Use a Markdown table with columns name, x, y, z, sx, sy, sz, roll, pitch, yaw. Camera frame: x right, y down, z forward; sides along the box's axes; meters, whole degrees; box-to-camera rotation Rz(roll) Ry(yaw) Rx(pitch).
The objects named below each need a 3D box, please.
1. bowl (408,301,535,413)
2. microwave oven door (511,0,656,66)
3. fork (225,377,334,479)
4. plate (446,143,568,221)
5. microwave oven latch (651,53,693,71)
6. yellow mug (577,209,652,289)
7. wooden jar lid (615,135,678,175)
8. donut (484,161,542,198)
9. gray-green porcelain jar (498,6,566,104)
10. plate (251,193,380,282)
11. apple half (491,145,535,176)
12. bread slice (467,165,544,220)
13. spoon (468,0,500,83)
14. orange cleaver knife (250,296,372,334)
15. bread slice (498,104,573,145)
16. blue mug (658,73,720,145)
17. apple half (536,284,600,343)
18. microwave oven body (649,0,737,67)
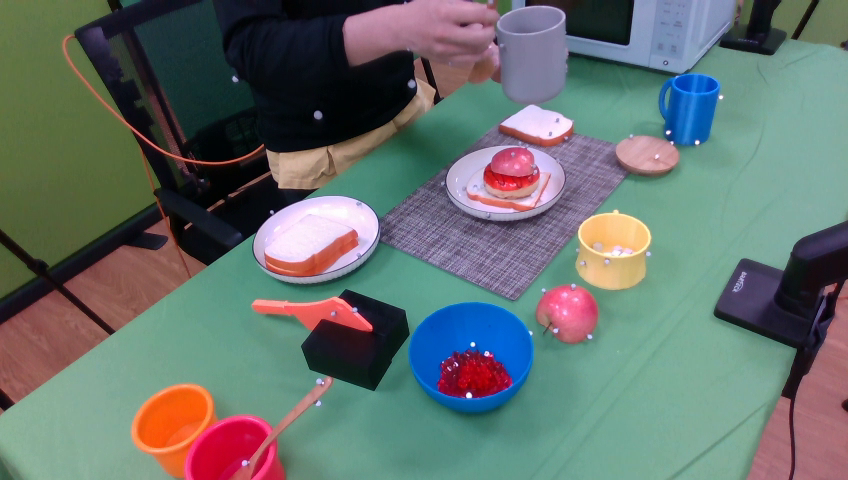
| name | x | y | z | sx | sy | sz | roll | pitch | yaw |
| --- | --- | --- | --- | --- | --- | --- | --- | --- | --- |
| bowl | 0.060 | 0.156 | 0.739 | 0.151 | 0.077 | 0.150 | -4 | 40 | 4 |
| microwave oven door | 0.351 | -0.539 | 1.349 | 0.353 | 0.245 | 0.039 | 24 | 50 | 31 |
| fork | -0.163 | 0.216 | 0.646 | 0.207 | 0.019 | 0.028 | -49 | 41 | 16 |
| plate | 0.142 | -0.097 | 1.045 | 0.207 | 0.039 | 0.206 | -4 | 40 | 4 |
| microwave oven latch | 0.532 | -0.386 | 1.301 | 0.078 | 0.029 | 0.030 | 27 | 52 | 34 |
| yellow mug | 0.279 | 0.004 | 0.893 | 0.099 | 0.064 | 0.130 | 5 | 42 | 14 |
| wooden jar lid | 0.398 | -0.151 | 1.086 | 0.108 | 0.021 | 0.108 | -1 | 42 | 2 |
| donut | 0.149 | -0.109 | 1.016 | 0.099 | 0.048 | 0.098 | -4 | 40 | 4 |
| gray-green porcelain jar | 0.174 | -0.292 | 0.966 | 0.106 | 0.127 | 0.105 | -6 | 42 | 6 |
| plate | -0.174 | -0.001 | 0.984 | 0.209 | 0.038 | 0.208 | -4 | 41 | 4 |
| apple half | 0.147 | -0.138 | 0.994 | 0.081 | 0.033 | 0.081 | 1 | 37 | 0 |
| bread slice | 0.142 | -0.086 | 1.050 | 0.134 | 0.018 | 0.107 | 15 | 47 | 13 |
| spoon | 0.084 | -0.271 | 0.806 | 0.042 | 0.194 | 0.021 | -17 | 66 | -10 |
| orange cleaver knife | -0.158 | 0.103 | 0.828 | 0.210 | 0.078 | 0.012 | -4 | 43 | 39 |
| bread slice | 0.231 | -0.231 | 1.205 | 0.105 | 0.019 | 0.130 | -36 | 47 | -29 |
| blue mug | 0.483 | -0.250 | 1.127 | 0.082 | 0.106 | 0.115 | -26 | 44 | -19 |
| apple half | 0.196 | 0.091 | 0.815 | 0.075 | 0.053 | 0.080 | -22 | 42 | -20 |
| microwave oven body | 0.475 | -0.602 | 1.411 | 0.438 | 0.261 | 0.327 | 23 | 50 | 32 |
